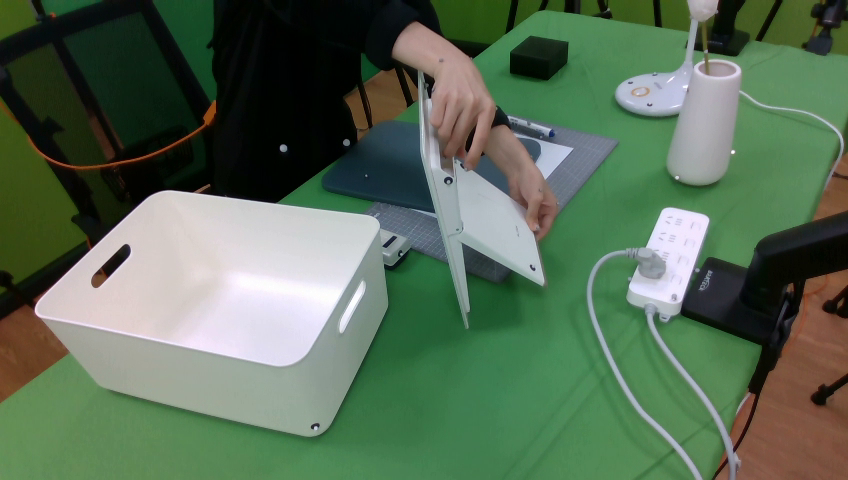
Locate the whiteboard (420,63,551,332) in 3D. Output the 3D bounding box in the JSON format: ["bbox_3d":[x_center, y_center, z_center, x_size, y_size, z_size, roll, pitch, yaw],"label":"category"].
[{"bbox_3d":[0.086,-0.060,0.811,0.144,0.307,0.216,-7,42,5],"label":"whiteboard"}]

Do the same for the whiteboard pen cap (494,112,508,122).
[{"bbox_3d":[0.161,-0.253,1.248,0.033,0.018,0.018,29,52,36],"label":"whiteboard pen cap"}]

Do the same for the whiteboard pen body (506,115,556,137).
[{"bbox_3d":[0.203,-0.232,1.213,0.139,0.017,0.017,27,51,36],"label":"whiteboard pen body"}]

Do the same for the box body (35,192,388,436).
[{"bbox_3d":[-0.251,0.088,0.800,0.362,0.161,0.254,7,42,16],"label":"box body"}]

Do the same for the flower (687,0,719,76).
[{"bbox_3d":[0.436,-0.242,0.934,0.038,0.364,0.043,-24,49,8],"label":"flower"}]

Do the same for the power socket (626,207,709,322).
[{"bbox_3d":[0.360,0.026,0.886,0.072,0.033,0.227,17,46,27],"label":"power socket"}]

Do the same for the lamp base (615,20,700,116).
[{"bbox_3d":[0.484,-0.364,1.211,0.180,0.181,0.159,-15,41,-14],"label":"lamp base"}]

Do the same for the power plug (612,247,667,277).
[{"bbox_3d":[0.306,0.031,0.852,0.072,0.053,0.035,21,48,37],"label":"power plug"}]

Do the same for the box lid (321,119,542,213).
[{"bbox_3d":[0.017,-0.141,1.145,0.369,0.015,0.263,12,44,22],"label":"box lid"}]

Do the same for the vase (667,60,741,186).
[{"bbox_3d":[0.463,-0.189,0.995,0.098,0.201,0.097,-4,40,3],"label":"vase"}]

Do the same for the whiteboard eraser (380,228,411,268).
[{"bbox_3d":[-0.081,0.008,0.964,0.112,0.042,0.056,19,49,27],"label":"whiteboard eraser"}]
